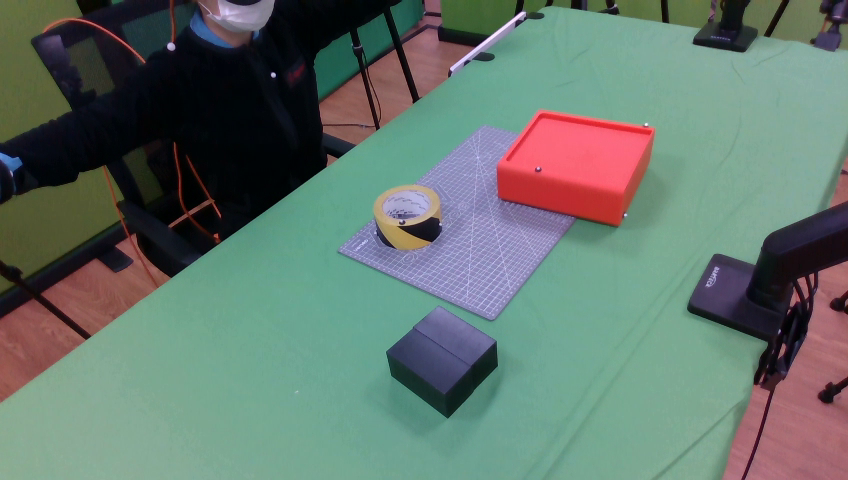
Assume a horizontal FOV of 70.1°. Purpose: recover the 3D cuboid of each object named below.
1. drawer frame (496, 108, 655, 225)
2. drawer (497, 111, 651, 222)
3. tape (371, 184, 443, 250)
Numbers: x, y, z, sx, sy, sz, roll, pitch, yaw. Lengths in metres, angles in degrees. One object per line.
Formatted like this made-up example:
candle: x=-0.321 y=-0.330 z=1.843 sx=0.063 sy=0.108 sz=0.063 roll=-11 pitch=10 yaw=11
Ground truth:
drawer frame: x=0.259 y=-0.132 z=1.034 sx=0.212 sy=0.083 sz=0.202 roll=16 pitch=45 yaw=24
drawer: x=0.257 y=-0.132 z=1.034 sx=0.210 sy=0.073 sz=0.195 roll=16 pitch=45 yaw=24
tape: x=-0.028 y=-0.039 z=0.990 sx=0.117 sy=0.053 sz=0.116 roll=-4 pitch=40 yaw=4
